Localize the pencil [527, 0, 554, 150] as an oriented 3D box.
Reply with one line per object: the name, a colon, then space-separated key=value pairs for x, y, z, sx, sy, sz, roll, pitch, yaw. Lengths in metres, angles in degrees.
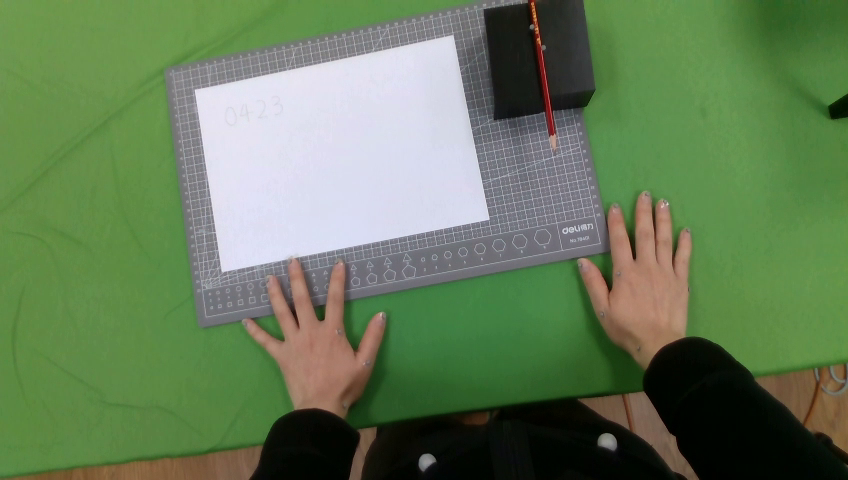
pencil: x=0.115 y=-0.184 z=0.605 sx=0.012 sy=0.012 sz=0.193 roll=-7 pitch=83 yaw=4
